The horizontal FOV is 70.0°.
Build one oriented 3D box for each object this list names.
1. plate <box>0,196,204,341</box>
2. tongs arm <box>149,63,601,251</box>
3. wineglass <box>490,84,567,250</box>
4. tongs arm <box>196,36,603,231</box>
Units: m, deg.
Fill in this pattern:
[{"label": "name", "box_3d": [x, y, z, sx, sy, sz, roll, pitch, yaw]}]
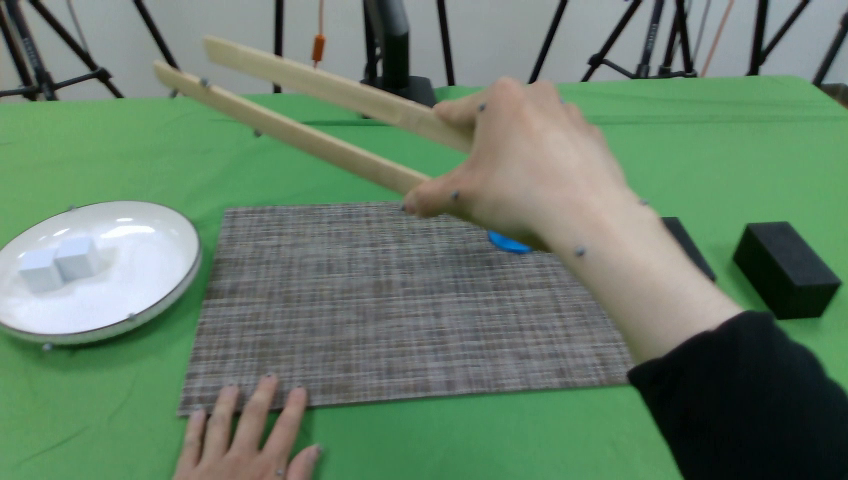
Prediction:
[{"label": "plate", "box_3d": [-0.335, 0.028, 0.633, 0.209, 0.038, 0.207, 1, 40, 0]}, {"label": "tongs arm", "box_3d": [-0.061, -0.075, 0.437, 0.382, 0.027, 0.050, 27, 53, 27]}, {"label": "wineglass", "box_3d": [0.111, -0.076, 0.662, 0.074, 0.174, 0.073, 1, 41, 0]}, {"label": "tongs arm", "box_3d": [-0.043, -0.095, 0.454, 0.384, 0.028, 0.028, 25, 49, 26]}]
